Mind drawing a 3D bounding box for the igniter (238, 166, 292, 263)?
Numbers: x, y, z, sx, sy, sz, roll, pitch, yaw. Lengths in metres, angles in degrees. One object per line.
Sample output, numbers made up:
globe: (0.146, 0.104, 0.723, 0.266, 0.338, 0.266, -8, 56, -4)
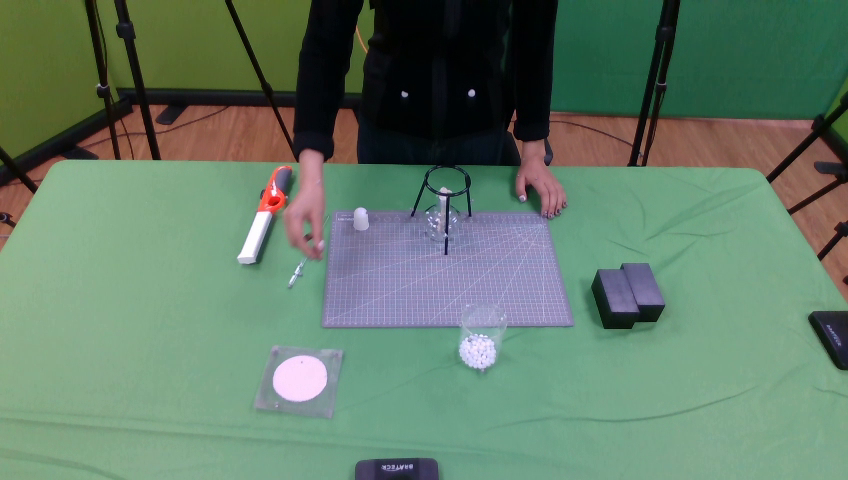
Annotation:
igniter: (-0.319, -0.060, 1.229, 0.057, 0.025, 0.275, -2, 45, 10)

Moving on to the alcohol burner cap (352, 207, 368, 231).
alcohol burner cap: (-0.128, -0.046, 1.215, 0.034, 0.048, 0.033, 3, 47, -3)

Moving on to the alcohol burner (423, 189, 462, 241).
alcohol burner: (0.036, -0.055, 1.187, 0.078, 0.120, 0.077, 2, 48, -1)

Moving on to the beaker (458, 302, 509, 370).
beaker: (0.092, 0.159, 0.999, 0.083, 0.101, 0.074, 35, 53, 28)

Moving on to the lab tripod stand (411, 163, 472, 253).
lab tripod stand: (0.043, -0.069, 1.187, 0.148, 0.132, 0.147, 3, 47, -3)

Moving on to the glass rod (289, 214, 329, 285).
glass rod: (-0.221, 0.014, 1.179, 0.008, 0.008, 0.199, 12, 46, 9)

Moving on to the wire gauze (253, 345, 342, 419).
wire gauze: (-0.200, 0.224, 0.979, 0.125, 0.011, 0.121, 7, 47, 0)
